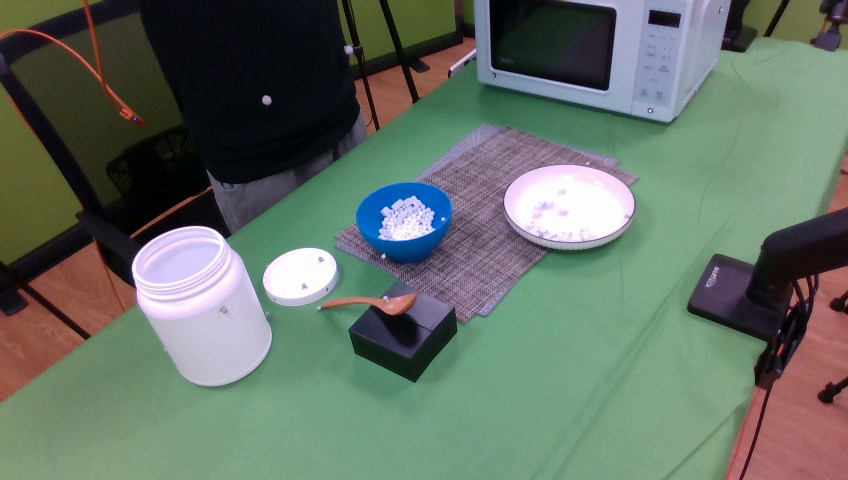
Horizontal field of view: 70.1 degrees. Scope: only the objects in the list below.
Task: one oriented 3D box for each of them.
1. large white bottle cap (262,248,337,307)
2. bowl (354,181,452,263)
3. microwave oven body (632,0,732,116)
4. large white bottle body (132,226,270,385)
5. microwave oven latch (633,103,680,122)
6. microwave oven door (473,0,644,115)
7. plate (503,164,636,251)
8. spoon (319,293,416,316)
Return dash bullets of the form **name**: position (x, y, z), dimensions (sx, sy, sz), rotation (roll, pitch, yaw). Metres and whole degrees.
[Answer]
- **large white bottle cap**: position (-0.193, 0.056, 0.934), dimensions (0.115, 0.018, 0.114), rotation (-4, 41, 4)
- **bowl**: position (-0.028, -0.017, 0.943), dimensions (0.151, 0.077, 0.150), rotation (-4, 40, 4)
- **microwave oven body**: position (0.377, -0.462, 1.267), dimensions (0.438, 0.261, 0.327), rotation (21, 48, 30)
- **large white bottle body**: position (-0.286, 0.085, 0.784), dimensions (0.130, 0.185, 0.130), rotation (-4, 41, 4)
- **microwave oven latch**: position (0.444, -0.249, 1.157), dimensions (0.078, 0.029, 0.030), rotation (21, 48, 30)
- **microwave oven door**: position (0.257, -0.396, 1.199), dimensions (0.353, 0.245, 0.039), rotation (21, 48, 29)
- **plate**: position (0.232, -0.051, 0.976), dimensions (0.209, 0.038, 0.208), rotation (-3, 41, 3)
- **spoon**: position (-0.082, 0.086, 0.826), dimensions (0.192, 0.022, 0.041), rotation (-3, 37, 41)
